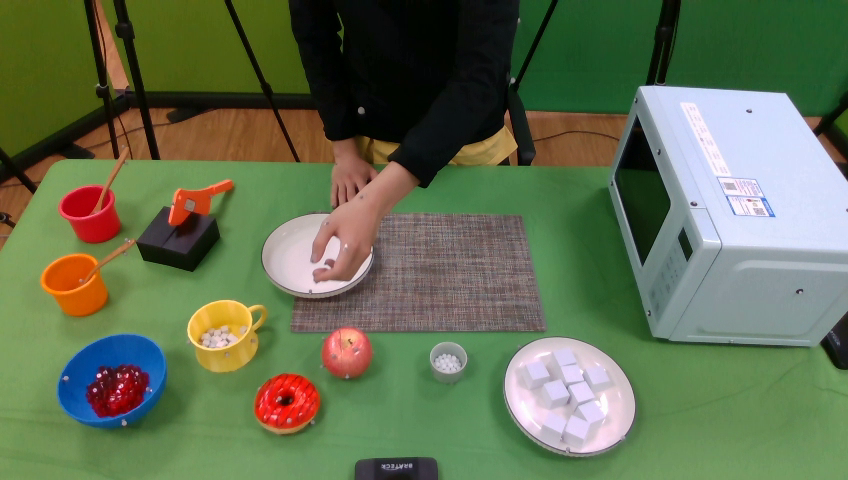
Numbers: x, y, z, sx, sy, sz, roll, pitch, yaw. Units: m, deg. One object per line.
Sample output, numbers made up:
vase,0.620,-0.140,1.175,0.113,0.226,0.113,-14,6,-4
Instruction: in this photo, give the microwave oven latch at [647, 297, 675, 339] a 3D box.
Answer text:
microwave oven latch,0.413,0.134,1.061,0.030,0.029,0.078,5,45,2

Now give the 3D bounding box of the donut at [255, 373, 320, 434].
donut,-0.209,0.249,0.928,0.099,0.048,0.098,3,43,-3

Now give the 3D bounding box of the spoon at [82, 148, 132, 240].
spoon,-0.602,-0.088,1.156,0.041,0.022,0.194,28,95,24

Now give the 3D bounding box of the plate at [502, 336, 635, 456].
plate,0.225,0.248,0.964,0.208,0.039,0.206,2,46,-2

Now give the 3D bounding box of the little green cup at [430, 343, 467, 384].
little green cup,0.039,0.203,0.993,0.061,0.039,0.061,2,46,-2

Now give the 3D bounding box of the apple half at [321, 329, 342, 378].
apple half,-0.149,0.186,0.972,0.033,0.081,0.080,-2,46,-12

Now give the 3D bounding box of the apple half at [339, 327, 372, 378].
apple half,-0.111,0.183,0.980,0.053,0.075,0.080,-2,42,-12

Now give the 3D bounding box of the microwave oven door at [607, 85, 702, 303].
microwave oven door,0.423,-0.094,1.140,0.039,0.245,0.353,2,46,-1

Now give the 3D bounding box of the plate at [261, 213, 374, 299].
plate,-0.198,0.032,1.137,0.209,0.038,0.208,2,46,-2

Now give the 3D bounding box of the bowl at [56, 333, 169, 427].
bowl,-0.456,0.223,0.911,0.151,0.077,0.150,3,46,-2

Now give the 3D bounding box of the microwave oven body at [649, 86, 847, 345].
microwave oven body,0.568,-0.053,1.118,0.326,0.261,0.439,2,45,-1

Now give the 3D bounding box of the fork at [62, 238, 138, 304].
fork,-0.547,0.053,1.018,0.207,0.019,0.028,-36,41,23

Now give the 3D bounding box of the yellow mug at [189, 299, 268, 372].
yellow mug,-0.316,0.148,1.002,0.131,0.064,0.099,-33,56,-31

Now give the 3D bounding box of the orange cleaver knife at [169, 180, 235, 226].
orange cleaver knife,-0.436,-0.076,1.199,0.012,0.077,0.211,17,17,9
